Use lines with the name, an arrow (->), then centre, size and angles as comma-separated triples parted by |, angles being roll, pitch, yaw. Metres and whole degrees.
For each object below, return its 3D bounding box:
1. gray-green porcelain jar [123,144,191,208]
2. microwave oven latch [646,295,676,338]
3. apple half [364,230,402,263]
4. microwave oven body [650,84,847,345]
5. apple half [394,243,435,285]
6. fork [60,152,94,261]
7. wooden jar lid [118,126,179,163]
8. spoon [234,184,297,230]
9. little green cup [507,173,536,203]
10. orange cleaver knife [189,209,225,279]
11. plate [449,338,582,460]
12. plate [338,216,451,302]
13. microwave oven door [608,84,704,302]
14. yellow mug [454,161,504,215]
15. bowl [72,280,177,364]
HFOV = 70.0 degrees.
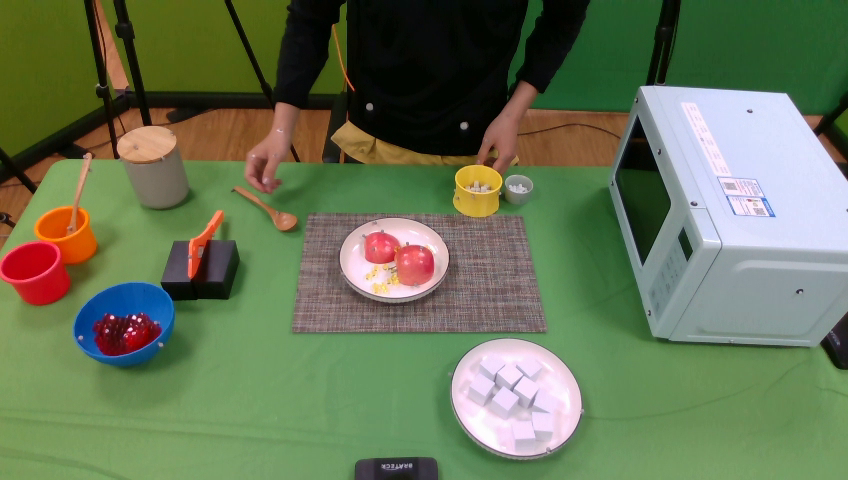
gray-green porcelain jar -> -0.531, -0.137, 1.213 | 0.106, 0.127, 0.105 | 2, 46, -2
microwave oven latch -> 0.412, 0.133, 1.060 | 0.030, 0.029, 0.078 | 3, 46, 0
apple half -> -0.079, 0.004, 1.159 | 0.081, 0.033, 0.081 | 3, 49, -3
microwave oven body -> 0.569, -0.054, 1.115 | 0.326, 0.261, 0.439 | 2, 46, -1
apple half -> -0.017, 0.036, 1.120 | 0.075, 0.053, 0.080 | 1, 46, -6
fork -> -0.638, -0.063, 1.119 | 0.028, 0.018, 0.207 | 12, 90, 8
wooden jar lid -> -0.528, -0.181, 1.167 | 0.108, 0.021, 0.107 | 3, 47, -3
spoon -> -0.327, -0.073, 1.240 | 0.193, 0.022, 0.041 | 34, 72, 25
little green cup -> 0.206, -0.111, 1.301 | 0.061, 0.039, 0.061 | 3, 45, -3
orange cleaver knife -> -0.400, 0.002, 1.122 | 0.012, 0.077, 0.210 | 4, 23, -4
plate -> 0.141, 0.251, 0.956 | 0.208, 0.039, 0.206 | 2, 47, -2
plate -> -0.054, 0.038, 1.138 | 0.209, 0.038, 0.208 | 2, 46, -2
microwave oven door -> 0.424, -0.096, 1.138 | 0.039, 0.245, 0.353 | 3, 46, -1
yellow mug -> 0.118, -0.118, 1.283 | 0.100, 0.064, 0.130 | 8, 43, 6
bowl -> -0.472, 0.147, 0.982 | 0.151, 0.077, 0.150 | 2, 46, -2
